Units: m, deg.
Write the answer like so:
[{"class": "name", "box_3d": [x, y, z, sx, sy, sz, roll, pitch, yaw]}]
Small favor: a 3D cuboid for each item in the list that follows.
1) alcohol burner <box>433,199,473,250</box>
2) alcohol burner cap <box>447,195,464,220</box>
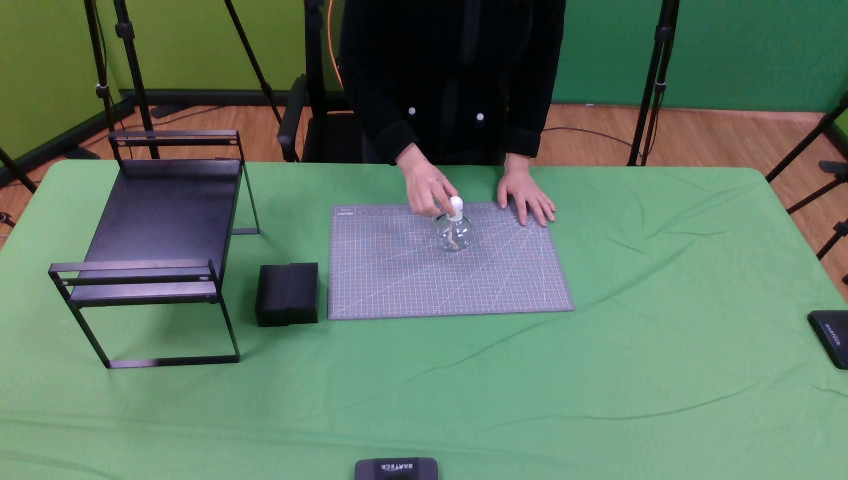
[{"class": "alcohol burner", "box_3d": [0.058, -0.038, 1.169, 0.078, 0.119, 0.077, 3, 45, -3]}, {"class": "alcohol burner cap", "box_3d": [0.060, -0.063, 1.143, 0.034, 0.048, 0.033, -1, 49, 2]}]
